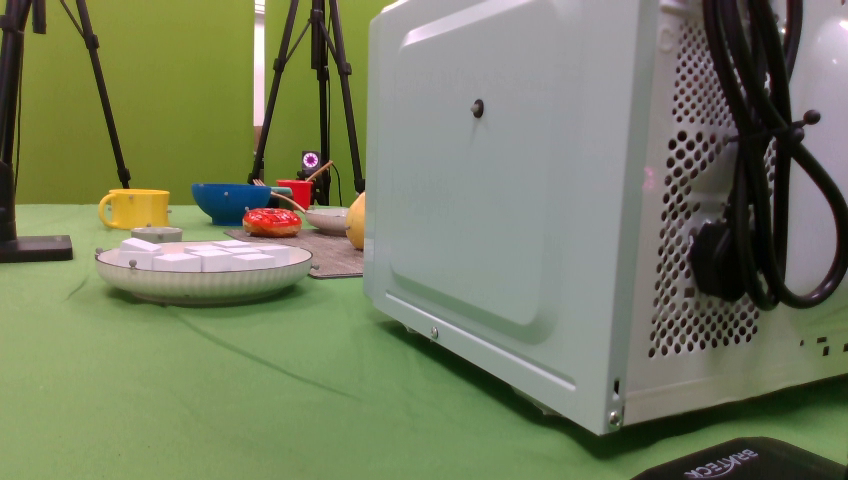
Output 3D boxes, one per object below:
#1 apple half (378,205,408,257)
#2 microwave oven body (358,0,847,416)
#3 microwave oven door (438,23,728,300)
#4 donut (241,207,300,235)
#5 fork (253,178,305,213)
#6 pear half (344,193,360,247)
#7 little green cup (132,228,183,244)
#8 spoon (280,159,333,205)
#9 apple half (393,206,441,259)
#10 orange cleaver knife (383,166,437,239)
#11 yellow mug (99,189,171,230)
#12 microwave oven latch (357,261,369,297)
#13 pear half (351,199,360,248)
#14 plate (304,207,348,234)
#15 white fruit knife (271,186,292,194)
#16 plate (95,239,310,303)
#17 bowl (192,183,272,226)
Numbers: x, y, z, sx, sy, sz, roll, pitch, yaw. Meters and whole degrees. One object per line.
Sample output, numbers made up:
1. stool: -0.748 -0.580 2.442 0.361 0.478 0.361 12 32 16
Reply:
1. apple half: -0.046 -0.012 0.848 0.033 0.081 0.081 1 7 15
2. microwave oven body: 0.211 -0.047 0.474 0.444 0.260 0.324 -1 7 -28
3. microwave oven door: 0.181 -0.072 0.621 0.358 0.243 0.039 -2 8 -29
4. donut: -0.263 -0.031 1.039 0.099 0.048 0.099 4 10 0
5. fork: -0.294 -0.084 1.293 0.206 0.018 0.028 29 12 26
6. pear half: -0.104 -0.033 0.928 0.031 0.088 0.070 5 13 18
7. little green cup: -0.342 0.006 0.779 0.061 0.038 0.061 2 8 0
8. spoon: -0.316 -0.159 1.639 0.194 0.022 0.041 -49 32 -20
9. apple half: -0.004 -0.009 0.836 0.053 0.074 0.081 7 2 20
10. orange cleaver knife: -0.017 -0.042 0.876 0.012 0.077 0.212 7 -11 18
11. yellow mug: -0.518 -0.055 1.080 0.099 0.064 0.131 6 9 26
12. microwave oven latch: -0.019 0.033 0.531 0.079 0.029 0.030 -1 7 -27
13. pear half: -0.071 -0.040 0.914 0.056 0.110 0.076 4 12 18
14. plate: -0.123 -0.037 1.149 0.209 0.038 0.209 2 7 0
15. white fruit knife: -0.399 -0.111 1.368 0.208 0.016 0.027 -4 -20 -29
16. plate: -0.224 0.031 0.629 0.208 0.039 0.207 2 7 0
17. bowl: -0.381 -0.070 1.202 0.151 0.077 0.151 3 7 0
